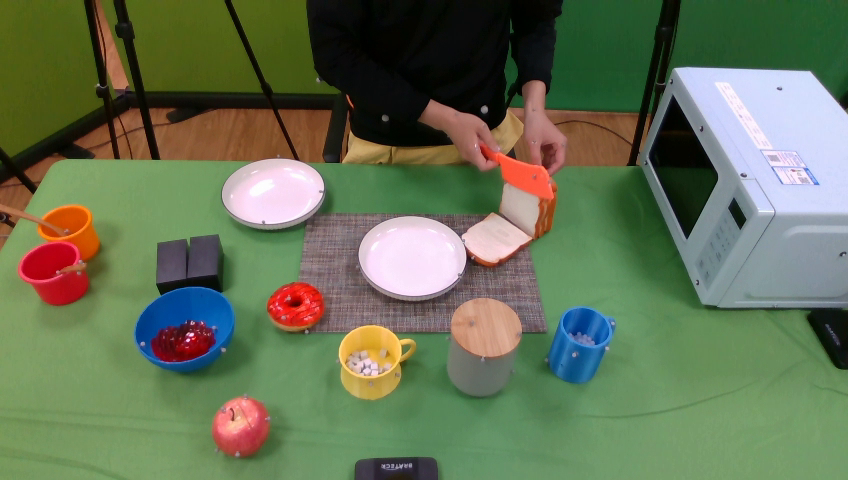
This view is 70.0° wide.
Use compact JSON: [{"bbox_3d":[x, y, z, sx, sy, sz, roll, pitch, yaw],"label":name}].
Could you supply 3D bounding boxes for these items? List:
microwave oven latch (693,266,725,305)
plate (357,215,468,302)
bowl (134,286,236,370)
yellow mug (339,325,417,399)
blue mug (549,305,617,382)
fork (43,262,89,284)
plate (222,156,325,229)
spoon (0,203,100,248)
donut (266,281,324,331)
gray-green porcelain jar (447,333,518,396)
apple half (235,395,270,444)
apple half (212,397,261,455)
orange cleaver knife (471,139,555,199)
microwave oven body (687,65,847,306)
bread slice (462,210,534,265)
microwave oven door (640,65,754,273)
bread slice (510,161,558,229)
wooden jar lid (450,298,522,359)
[{"bbox_3d":[0.523,0.082,1.115,0.030,0.029,0.078,3,46,0],"label":"microwave oven latch"},{"bbox_3d":[-0.022,0.037,1.141,0.208,0.039,0.206,2,46,-2],"label":"plate"},{"bbox_3d":[-0.377,0.155,0.981,0.151,0.077,0.150,2,46,-2],"label":"bowl"},{"bbox_3d":[-0.072,0.191,0.978,0.131,0.064,0.099,-17,50,-20],"label":"yellow mug"},{"bbox_3d":[0.269,0.166,0.998,0.116,0.106,0.082,-19,51,-21],"label":"blue mug"},{"bbox_3d":[-0.599,0.053,1.013,0.207,0.019,0.028,-14,30,45],"label":"fork"},{"bbox_3d":[-0.308,-0.095,1.251,0.209,0.038,0.208,2,47,-2],"label":"plate"},{"bbox_3d":[-0.683,-0.031,1.088,0.195,0.021,0.041,33,33,-38],"label":"spoon"},{"bbox_3d":[-0.222,0.114,1.049,0.099,0.048,0.098,2,46,-2],"label":"donut"},{"bbox_3d":[0.091,0.178,0.960,0.106,0.127,0.105,2,46,-2],"label":"gray-green porcelain jar"},{"bbox_3d":[-0.245,0.259,0.893,0.033,0.082,0.081,-29,55,-22],"label":"apple half"},{"bbox_3d":[-0.276,0.276,0.877,0.053,0.075,0.080,-29,58,-21],"label":"apple half"},{"bbox_3d":[0.167,-0.136,1.153,0.012,0.077,0.210,-36,45,-22],"label":"orange cleaver knife"},{"bbox_3d":[0.669,-0.111,1.176,0.326,0.261,0.439,0,46,-3],"label":"microwave oven body"},{"bbox_3d":[0.138,-0.003,1.196,0.104,0.019,0.131,38,52,26],"label":"bread slice"},{"bbox_3d":[0.523,-0.147,1.193,0.039,0.245,0.353,0,47,-3],"label":"microwave oven door"},{"bbox_3d":[0.224,-0.094,1.222,0.018,0.135,0.106,-34,61,-27],"label":"bread slice"},{"bbox_3d":[0.093,0.135,0.914,0.108,0.021,0.107,2,48,-3],"label":"wooden jar lid"}]
